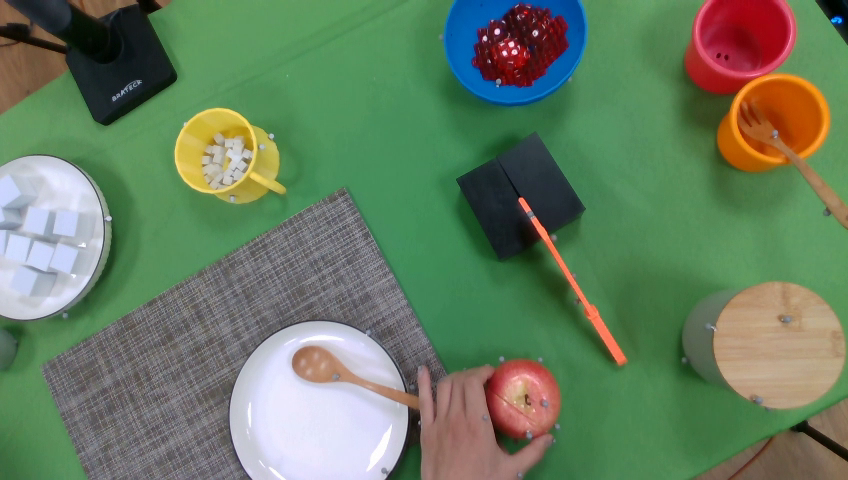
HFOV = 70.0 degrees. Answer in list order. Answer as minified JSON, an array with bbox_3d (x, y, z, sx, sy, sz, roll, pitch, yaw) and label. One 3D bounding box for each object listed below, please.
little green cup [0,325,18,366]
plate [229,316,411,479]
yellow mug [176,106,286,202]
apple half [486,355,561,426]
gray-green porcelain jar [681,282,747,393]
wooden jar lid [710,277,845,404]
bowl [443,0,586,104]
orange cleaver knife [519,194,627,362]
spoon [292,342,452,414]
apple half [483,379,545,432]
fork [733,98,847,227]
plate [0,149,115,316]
[{"bbox_3d":[-0.547,0.133,0.759,0.061,0.039,0.061,-1,85,7],"label":"little green cup"},{"bbox_3d":[-0.115,0.190,0.683,0.209,0.038,0.208,-1,85,9],"label":"plate"},{"bbox_3d":[-0.218,-0.092,0.715,0.130,0.064,0.100,32,90,9],"label":"yellow mug"},{"bbox_3d":[0.111,0.151,0.638,0.080,0.075,0.053,32,86,15],"label":"apple half"},{"bbox_3d":[0.313,0.093,0.584,0.105,0.127,0.105,-1,84,9],"label":"gray-green porcelain jar"},{"bbox_3d":[0.302,0.086,0.523,0.108,0.021,0.108,-1,87,8],"label":"wooden jar lid"},{"bbox_3d":[0.099,-0.215,0.670,0.151,0.077,0.151,-1,85,9],"label":"bowl"},{"bbox_3d":[0.156,0.042,0.632,0.012,0.076,0.213,-32,113,8],"label":"orange cleaver knife"},{"bbox_3d":[-0.060,0.156,0.665,0.192,0.022,0.041,15,73,22],"label":"spoon"},{"bbox_3d":[0.090,0.178,0.636,0.081,0.081,0.033,32,93,11],"label":"apple half"},{"bbox_3d":[0.353,-0.080,0.582,0.028,0.019,0.205,-14,39,7],"label":"fork"},{"bbox_3d":[-0.480,-0.009,0.763,0.207,0.039,0.207,-1,85,9],"label":"plate"}]
